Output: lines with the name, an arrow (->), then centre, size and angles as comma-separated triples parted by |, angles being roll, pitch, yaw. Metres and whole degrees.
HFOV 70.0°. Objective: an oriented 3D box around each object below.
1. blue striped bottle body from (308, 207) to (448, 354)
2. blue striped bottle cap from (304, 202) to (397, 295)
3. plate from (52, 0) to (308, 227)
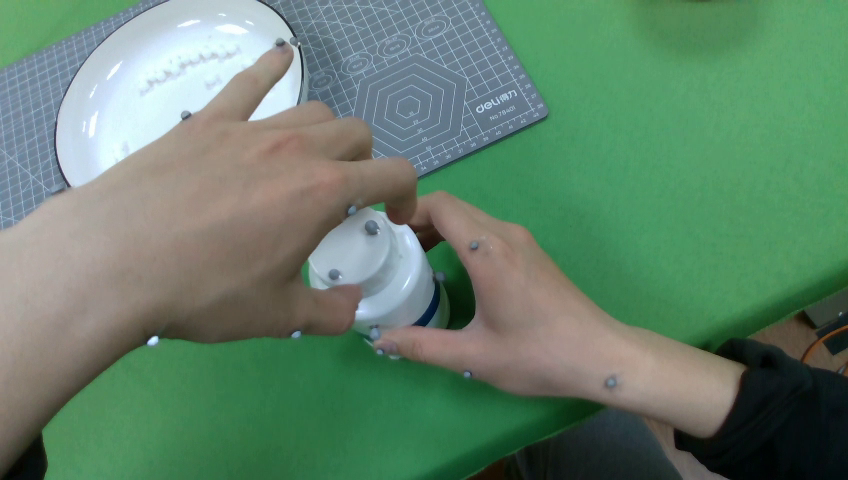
blue striped bottle body -> -0.025, 0.023, 0.351 | 0.063, 0.122, 0.062 | -4, 67, 10
blue striped bottle cap -> -0.037, 0.004, 0.303 | 0.044, 0.021, 0.044 | -3, 69, 8
plate -> -0.186, -0.102, 0.478 | 0.207, 0.039, 0.206 | -4, 68, 10
